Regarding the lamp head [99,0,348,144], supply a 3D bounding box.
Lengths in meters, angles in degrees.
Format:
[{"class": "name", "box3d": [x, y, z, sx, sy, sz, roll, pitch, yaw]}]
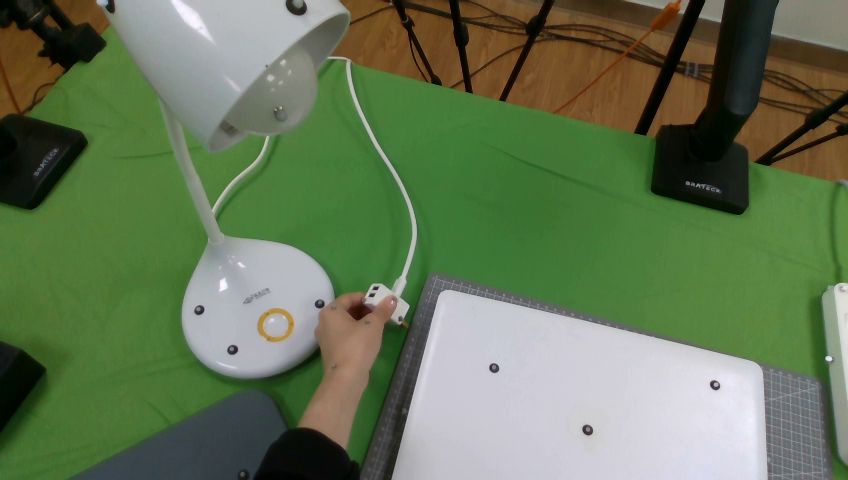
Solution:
[{"class": "lamp head", "box3d": [-0.122, -0.130, 0.333, 0.123, 0.112, 0.112, 43, 63, -6]}]

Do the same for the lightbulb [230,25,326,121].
[{"class": "lightbulb", "box3d": [-0.092, -0.118, 0.329, 0.059, 0.059, 0.108, -23, 101, -16]}]

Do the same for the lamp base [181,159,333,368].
[{"class": "lamp base", "box3d": [-0.186, 0.014, 0.596, 0.178, 0.182, 0.160, 39, 64, 22]}]

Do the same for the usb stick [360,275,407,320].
[{"class": "usb stick", "box3d": [-0.039, 0.064, 0.651, 0.021, 0.060, 0.027, -3, 49, 49]}]

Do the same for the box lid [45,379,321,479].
[{"class": "box lid", "box3d": [-0.182, 0.321, 0.510, 0.263, 0.015, 0.368, -26, 65, -18]}]

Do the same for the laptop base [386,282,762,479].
[{"class": "laptop base", "box3d": [0.159, 0.183, 0.611, 0.354, 0.023, 0.234, 13, 62, 4]}]

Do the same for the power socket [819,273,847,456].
[{"class": "power socket", "box3d": [0.476, 0.134, 0.654, 0.072, 0.033, 0.225, 15, 59, 4]}]

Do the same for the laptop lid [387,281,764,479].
[{"class": "laptop lid", "box3d": [0.159, 0.179, 0.600, 0.356, 0.013, 0.240, 14, 61, 5]}]
